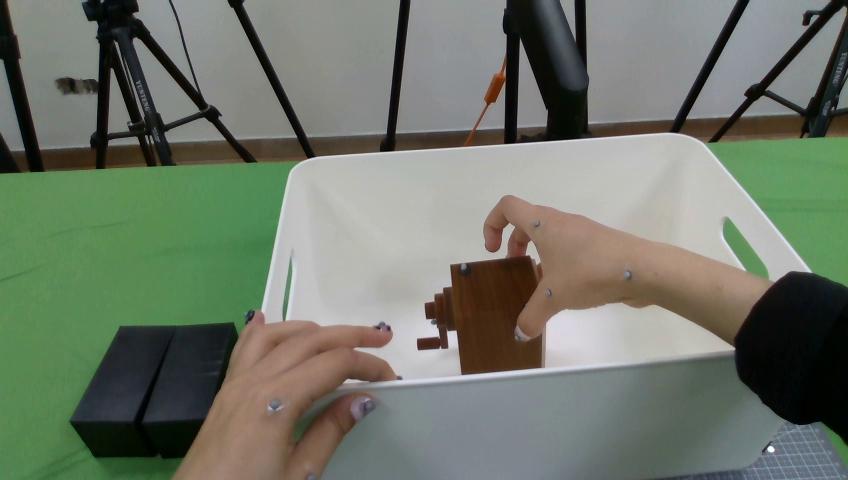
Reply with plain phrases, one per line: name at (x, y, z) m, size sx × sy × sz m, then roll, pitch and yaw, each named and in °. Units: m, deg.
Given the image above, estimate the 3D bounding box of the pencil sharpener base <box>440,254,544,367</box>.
pencil sharpener base at (0.056, 0.071, 0.500) m, size 0.076 × 0.108 × 0.060 m, roll -7°, pitch 42°, yaw 3°

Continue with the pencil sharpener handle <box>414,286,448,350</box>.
pencil sharpener handle at (0.003, 0.068, 0.494) m, size 0.030 × 0.068 × 0.035 m, roll -7°, pitch 43°, yaw 3°

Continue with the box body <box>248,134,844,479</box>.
box body at (0.073, 0.054, 0.492) m, size 0.364 × 0.162 × 0.251 m, roll -4°, pitch 39°, yaw -2°
